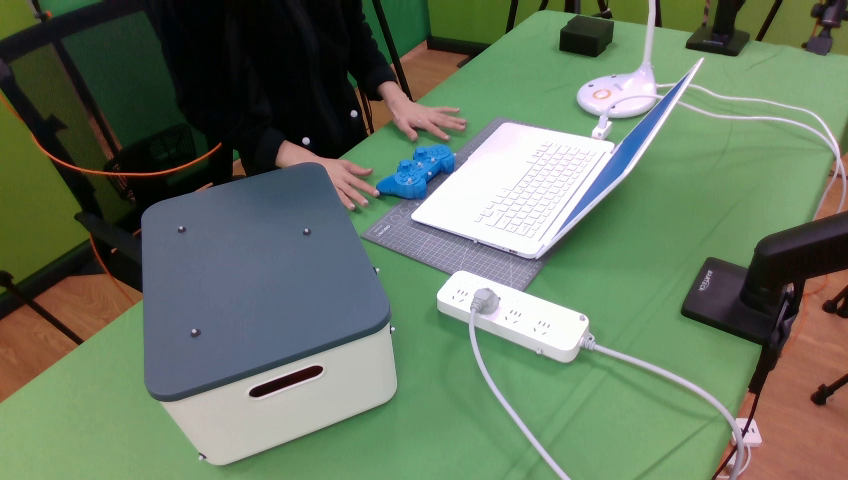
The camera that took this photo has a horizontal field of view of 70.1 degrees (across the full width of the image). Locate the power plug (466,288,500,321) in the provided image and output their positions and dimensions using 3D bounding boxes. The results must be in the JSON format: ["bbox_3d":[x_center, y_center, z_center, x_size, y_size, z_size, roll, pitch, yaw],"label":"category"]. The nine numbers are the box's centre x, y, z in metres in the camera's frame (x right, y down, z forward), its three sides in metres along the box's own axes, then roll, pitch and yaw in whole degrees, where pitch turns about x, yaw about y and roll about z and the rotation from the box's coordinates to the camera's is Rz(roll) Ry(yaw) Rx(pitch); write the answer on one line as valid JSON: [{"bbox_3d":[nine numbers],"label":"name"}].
[{"bbox_3d":[0.072,0.093,0.813,0.073,0.053,0.035,-37,49,-28],"label":"power plug"}]

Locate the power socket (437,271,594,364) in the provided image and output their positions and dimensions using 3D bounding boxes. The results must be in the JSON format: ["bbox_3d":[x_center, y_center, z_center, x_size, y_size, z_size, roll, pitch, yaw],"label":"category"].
[{"bbox_3d":[0.118,0.102,0.830,0.225,0.033,0.072,20,48,28],"label":"power socket"}]

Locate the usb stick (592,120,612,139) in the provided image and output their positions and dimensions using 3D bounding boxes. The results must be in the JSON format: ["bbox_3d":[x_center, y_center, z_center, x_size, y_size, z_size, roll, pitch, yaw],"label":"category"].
[{"bbox_3d":[0.335,-0.203,1.149,0.021,0.027,0.059,26,53,26],"label":"usb stick"}]

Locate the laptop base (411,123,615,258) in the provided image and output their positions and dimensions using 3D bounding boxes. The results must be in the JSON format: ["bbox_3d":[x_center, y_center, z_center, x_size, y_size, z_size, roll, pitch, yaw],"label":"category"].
[{"bbox_3d":[0.167,-0.102,1.074,0.234,0.023,0.355,16,45,30],"label":"laptop base"}]

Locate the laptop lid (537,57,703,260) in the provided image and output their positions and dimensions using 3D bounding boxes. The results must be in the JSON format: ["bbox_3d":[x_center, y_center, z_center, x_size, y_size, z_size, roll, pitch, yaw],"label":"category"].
[{"bbox_3d":[0.304,-0.127,0.928,0.013,0.241,0.357,39,51,4],"label":"laptop lid"}]

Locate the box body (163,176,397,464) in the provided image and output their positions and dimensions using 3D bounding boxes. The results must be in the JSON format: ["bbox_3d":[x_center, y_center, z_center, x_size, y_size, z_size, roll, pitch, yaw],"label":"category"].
[{"bbox_3d":[-0.205,0.080,0.802,0.255,0.161,0.361,-18,41,-13],"label":"box body"}]

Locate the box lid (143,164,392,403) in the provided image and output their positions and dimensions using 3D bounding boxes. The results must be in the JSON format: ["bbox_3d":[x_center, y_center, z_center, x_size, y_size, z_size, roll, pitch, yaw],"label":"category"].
[{"bbox_3d":[-0.212,0.025,0.753,0.264,0.015,0.368,-18,40,-13],"label":"box lid"}]

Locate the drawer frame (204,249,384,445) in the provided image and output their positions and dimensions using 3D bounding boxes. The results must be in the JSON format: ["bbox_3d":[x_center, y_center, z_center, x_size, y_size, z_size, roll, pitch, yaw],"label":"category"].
[{"bbox_3d":[-0.174,0.129,0.789,0.202,0.083,0.212,-16,45,-7],"label":"drawer frame"}]

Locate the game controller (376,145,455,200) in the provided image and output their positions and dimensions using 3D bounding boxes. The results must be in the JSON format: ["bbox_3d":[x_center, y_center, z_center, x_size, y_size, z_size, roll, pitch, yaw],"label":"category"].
[{"bbox_3d":[-0.011,-0.131,1.112,0.096,0.052,0.155,23,49,28],"label":"game controller"}]

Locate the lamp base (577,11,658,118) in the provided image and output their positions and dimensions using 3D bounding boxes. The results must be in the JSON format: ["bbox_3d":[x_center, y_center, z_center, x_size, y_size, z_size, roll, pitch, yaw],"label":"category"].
[{"bbox_3d":[0.406,-0.363,1.222,0.180,0.181,0.159,-20,42,-18],"label":"lamp base"}]
